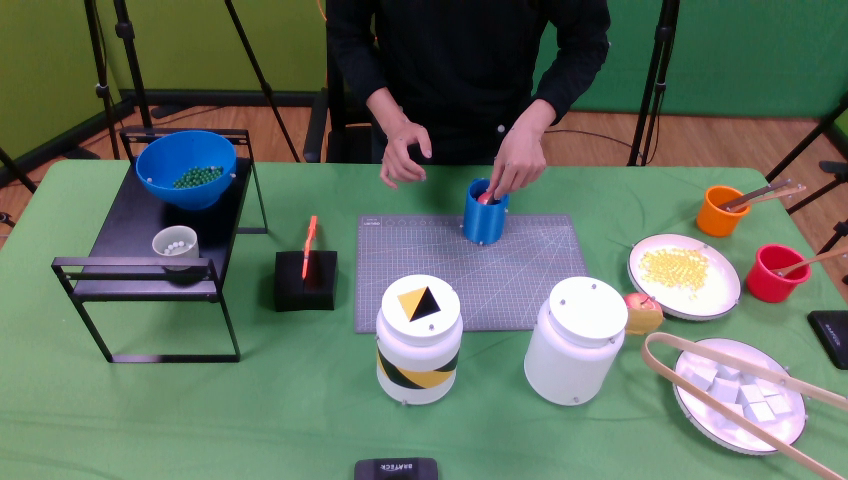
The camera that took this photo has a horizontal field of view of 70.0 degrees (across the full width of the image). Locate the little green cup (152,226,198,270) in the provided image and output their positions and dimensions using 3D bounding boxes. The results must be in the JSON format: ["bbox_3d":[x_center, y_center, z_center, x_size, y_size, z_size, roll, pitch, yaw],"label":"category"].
[{"bbox_3d":[-0.364,0.013,0.894,0.061,0.039,0.061,3,47,-3],"label":"little green cup"}]

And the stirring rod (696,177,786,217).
[{"bbox_3d":[0.648,-0.087,1.244,0.176,0.006,0.014,-25,50,29],"label":"stirring rod"}]

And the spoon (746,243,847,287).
[{"bbox_3d":[0.702,0.044,1.126,0.194,0.022,0.041,-29,38,30],"label":"spoon"}]

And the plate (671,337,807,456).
[{"bbox_3d":[0.504,0.254,0.984,0.208,0.039,0.206,2,46,-2],"label":"plate"}]

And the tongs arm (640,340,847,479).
[{"bbox_3d":[0.500,0.277,0.919,0.386,0.028,0.028,34,59,22],"label":"tongs arm"}]

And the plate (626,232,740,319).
[{"bbox_3d":[0.489,0.070,1.156,0.209,0.038,0.208,3,46,-3],"label":"plate"}]

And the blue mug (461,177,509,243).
[{"bbox_3d":[0.114,-0.070,1.211,0.082,0.106,0.115,-12,48,-15],"label":"blue mug"}]

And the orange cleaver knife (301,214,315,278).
[{"bbox_3d":[-0.218,0.007,1.131,0.012,0.077,0.210,7,19,-9],"label":"orange cleaver knife"}]

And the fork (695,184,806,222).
[{"bbox_3d":[0.658,-0.074,1.229,0.207,0.019,0.028,-24,33,36],"label":"fork"}]

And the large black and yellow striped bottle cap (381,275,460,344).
[{"bbox_3d":[-0.005,0.098,0.875,0.115,0.019,0.114,2,45,-2],"label":"large black and yellow striped bottle cap"}]

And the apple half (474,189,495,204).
[{"bbox_3d":[0.109,-0.067,1.199,0.032,0.081,0.081,28,50,11],"label":"apple half"}]

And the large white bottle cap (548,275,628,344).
[{"bbox_3d":[0.240,0.100,0.890,0.115,0.018,0.114,3,47,-3],"label":"large white bottle cap"}]

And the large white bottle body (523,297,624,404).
[{"bbox_3d":[0.235,0.159,0.952,0.131,0.185,0.130,2,47,-2],"label":"large white bottle body"}]

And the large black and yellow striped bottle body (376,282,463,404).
[{"bbox_3d":[-0.010,0.155,0.937,0.131,0.185,0.130,2,47,-2],"label":"large black and yellow striped bottle body"}]

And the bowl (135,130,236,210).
[{"bbox_3d":[-0.375,-0.102,0.978,0.151,0.077,0.150,2,46,-2],"label":"bowl"}]

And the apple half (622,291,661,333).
[{"bbox_3d":[0.372,0.123,1.074,0.081,0.075,0.053,0,42,1],"label":"apple half"}]

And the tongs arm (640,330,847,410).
[{"bbox_3d":[0.543,0.225,0.969,0.384,0.026,0.050,22,52,13],"label":"tongs arm"}]
